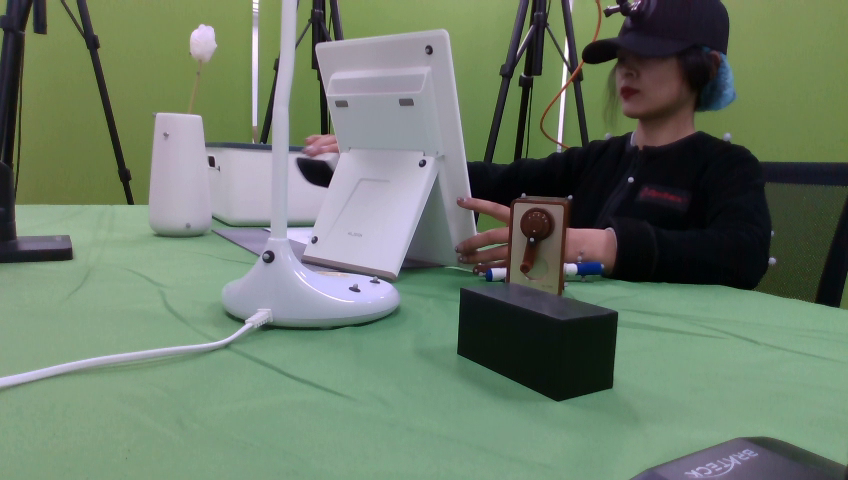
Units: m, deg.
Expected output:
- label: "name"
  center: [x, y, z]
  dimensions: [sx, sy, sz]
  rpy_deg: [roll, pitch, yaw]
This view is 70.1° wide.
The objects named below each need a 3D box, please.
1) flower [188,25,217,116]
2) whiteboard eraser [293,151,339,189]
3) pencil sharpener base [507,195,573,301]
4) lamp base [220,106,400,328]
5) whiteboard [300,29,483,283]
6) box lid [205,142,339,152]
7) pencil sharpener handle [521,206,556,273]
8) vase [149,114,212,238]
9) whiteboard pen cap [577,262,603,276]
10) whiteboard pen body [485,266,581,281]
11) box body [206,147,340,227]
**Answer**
- label: "flower"
  center: [-0.394, -0.189, 1.011]
  dimensions: [0.044, 0.361, 0.038]
  rpy_deg: [-1, -13, 28]
- label: "whiteboard eraser"
  center: [-0.163, -0.108, 0.942]
  dimensions: [0.042, 0.056, 0.112]
  rpy_deg: [-50, 33, -18]
- label: "pencil sharpener base"
  center: [0.127, 0.007, 0.663]
  dimensions: [0.061, 0.107, 0.077]
  rpy_deg: [5, 8, 15]
- label: "lamp base"
  center: [-0.101, -0.023, 0.531]
  dimensions: [0.160, 0.180, 0.179]
  rpy_deg: [4, 10, 10]
- label: "whiteboard"
  center: [-0.074, -0.082, 0.742]
  dimensions: [0.216, 0.305, 0.144]
  rpy_deg: [9, 29, 38]
- label: "box lid"
  center: [-0.270, -0.196, 1.311]
  dimensions: [0.373, 0.015, 0.262]
  rpy_deg: [-2, 9, -30]
- label: "pencil sharpener handle"
  center: [0.111, 0.000, 0.613]
  dimensions: [0.036, 0.067, 0.031]
  rpy_deg: [13, 10, 14]
- label: "vase"
  center: [-0.405, -0.106, 1.005]
  dimensions: [0.098, 0.200, 0.098]
  rpy_deg: [2, 6, 0]
- label: "whiteboard pen cap"
  center: [0.203, 0.036, 0.748]
  dimensions: [0.033, 0.018, 0.018]
  rpy_deg: [-3, 8, -7]
- label: "whiteboard pen body"
  center: [0.144, 0.040, 0.737]
  dimensions: [0.141, 0.017, 0.017]
  rpy_deg: [-1, 8, -10]
- label: "box body"
  center: [-0.276, -0.122, 1.320]
  dimensions: [0.366, 0.160, 0.253]
  rpy_deg: [-2, 9, -30]
